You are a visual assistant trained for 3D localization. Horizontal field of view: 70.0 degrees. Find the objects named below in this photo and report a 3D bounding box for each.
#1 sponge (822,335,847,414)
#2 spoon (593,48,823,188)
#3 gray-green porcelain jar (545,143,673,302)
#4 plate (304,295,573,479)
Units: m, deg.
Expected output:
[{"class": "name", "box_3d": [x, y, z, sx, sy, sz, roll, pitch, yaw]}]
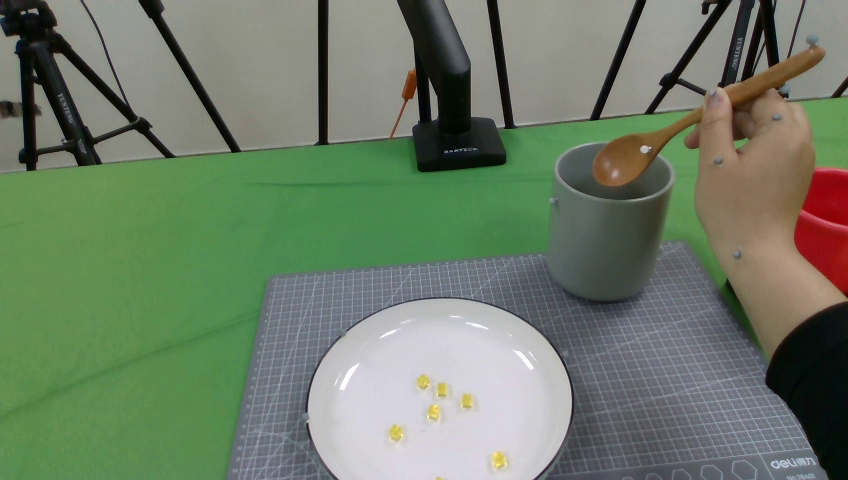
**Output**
[{"class": "sponge", "box_3d": [0.401, 0.149, 0.412, 0.118, 0.061, 0.204, -7, 38, -5]}, {"class": "spoon", "box_3d": [0.193, -0.083, 0.442, 0.022, 0.193, 0.041, 4, 73, -23]}, {"class": "gray-green porcelain jar", "box_3d": [0.171, -0.012, 0.580, 0.106, 0.127, 0.105, -2, 38, 2]}, {"class": "plate", "box_3d": [0.012, 0.128, 0.485, 0.207, 0.039, 0.205, -2, 38, 2]}]
